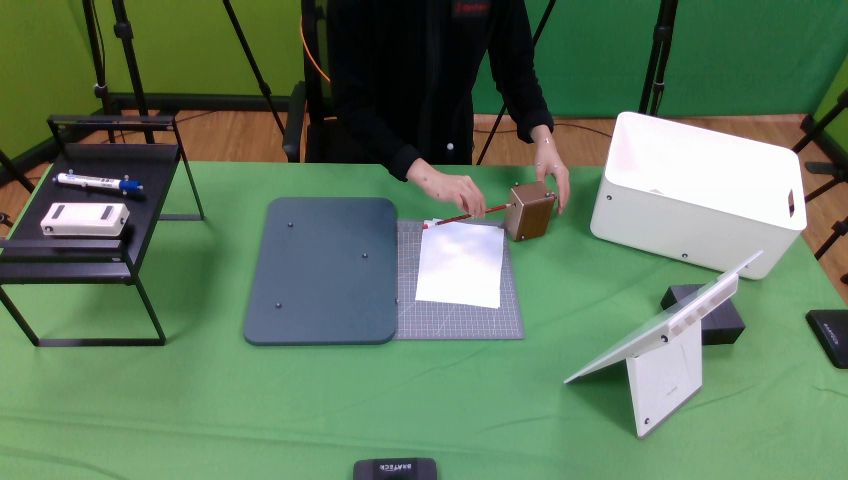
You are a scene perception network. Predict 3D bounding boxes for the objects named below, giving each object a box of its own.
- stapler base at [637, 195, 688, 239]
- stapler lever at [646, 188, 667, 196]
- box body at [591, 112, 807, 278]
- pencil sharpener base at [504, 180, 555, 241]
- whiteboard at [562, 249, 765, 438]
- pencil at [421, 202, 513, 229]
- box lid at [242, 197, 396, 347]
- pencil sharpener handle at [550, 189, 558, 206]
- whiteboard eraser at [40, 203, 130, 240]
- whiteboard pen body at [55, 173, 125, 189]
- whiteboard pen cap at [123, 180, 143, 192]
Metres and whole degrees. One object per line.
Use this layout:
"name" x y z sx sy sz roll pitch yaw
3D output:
"stapler base" 0.507 -0.055 1.280 0.041 0.024 0.129 -14 47 -19
"stapler lever" 0.507 -0.075 1.262 0.027 0.040 0.117 -14 46 -19
"box body" 0.540 -0.092 1.229 0.363 0.161 0.253 16 47 11
"pencil sharpener base" 0.211 -0.059 1.211 0.077 0.107 0.061 -13 48 -17
"whiteboard" 0.386 0.175 0.905 0.217 0.306 0.143 -26 72 -26
"pencil" 0.085 -0.049 1.151 0.194 0.012 0.012 -16 50 -16
"box lid" -0.186 0.046 1.147 0.263 0.015 0.369 0 46 -3
"pencil sharpener handle" 0.257 -0.084 1.220 0.031 0.068 0.036 -13 70 -17
"whiteboard eraser" -0.513 -0.028 0.922 0.113 0.042 0.055 1 48 -3
"whiteboard pen body" -0.539 -0.095 0.998 0.141 0.017 0.017 6 46 6
"whiteboard pen cap" -0.479 -0.089 0.993 0.033 0.018 0.018 7 46 14
